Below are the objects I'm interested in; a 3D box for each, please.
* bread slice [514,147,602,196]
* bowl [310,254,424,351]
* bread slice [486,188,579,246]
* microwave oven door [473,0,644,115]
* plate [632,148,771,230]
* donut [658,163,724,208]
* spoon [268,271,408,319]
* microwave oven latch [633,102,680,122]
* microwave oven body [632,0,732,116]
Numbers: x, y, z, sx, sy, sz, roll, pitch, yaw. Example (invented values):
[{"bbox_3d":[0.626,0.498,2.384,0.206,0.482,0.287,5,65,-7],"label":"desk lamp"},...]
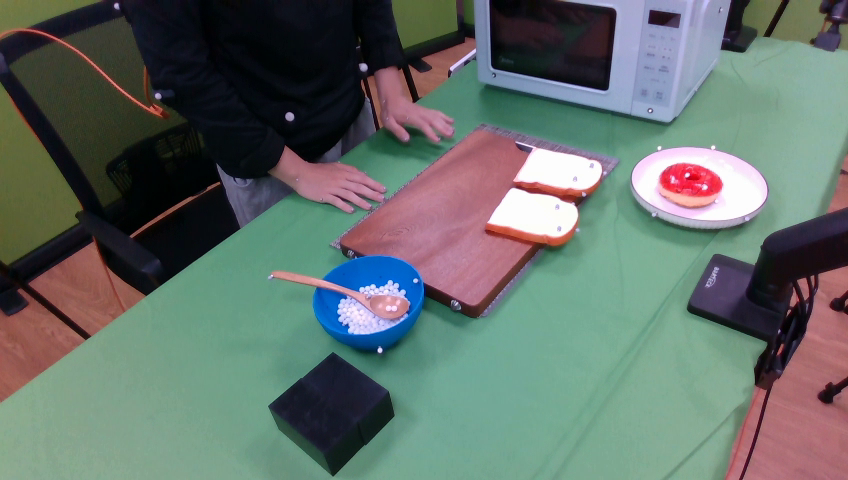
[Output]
[{"bbox_3d":[0.233,-0.115,1.027,0.133,0.018,0.107,13,45,20],"label":"bread slice"},{"bbox_3d":[-0.071,0.098,0.821,0.151,0.077,0.150,-4,40,4],"label":"bowl"},{"bbox_3d":[0.176,-0.038,0.946,0.131,0.019,0.105,16,47,24],"label":"bread slice"},{"bbox_3d":[0.257,-0.396,1.199,0.353,0.245,0.039,21,48,29],"label":"microwave oven door"},{"bbox_3d":[0.447,-0.081,0.988,0.207,0.039,0.206,-4,40,4],"label":"plate"},{"bbox_3d":[0.432,-0.090,0.982,0.099,0.048,0.098,-3,38,3],"label":"donut"},{"bbox_3d":[-0.116,0.069,0.813,0.194,0.021,0.041,18,39,1],"label":"spoon"},{"bbox_3d":[0.444,-0.249,1.157,0.078,0.029,0.030,22,49,31],"label":"microwave oven latch"},{"bbox_3d":[0.377,-0.462,1.267,0.438,0.261,0.327,21,48,30],"label":"microwave oven body"}]
